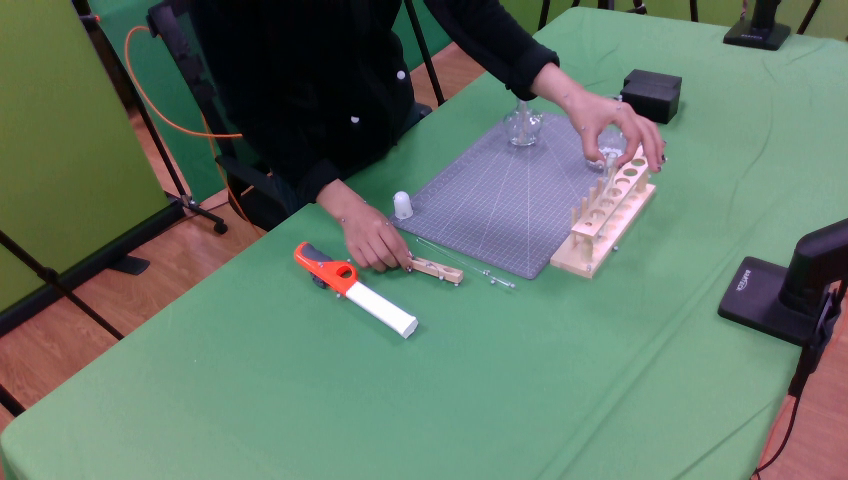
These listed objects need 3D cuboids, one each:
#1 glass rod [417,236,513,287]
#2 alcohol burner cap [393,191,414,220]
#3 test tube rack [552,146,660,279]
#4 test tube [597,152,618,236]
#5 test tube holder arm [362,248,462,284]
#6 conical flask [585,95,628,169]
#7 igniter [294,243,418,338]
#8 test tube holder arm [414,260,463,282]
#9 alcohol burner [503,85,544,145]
[{"bbox_3d":[0.059,0.032,0.944,0.198,0.008,0.008,27,52,37],"label":"glass rod"},{"bbox_3d":[-0.037,-0.061,1.045,0.034,0.048,0.033,-5,41,5],"label":"alcohol burner cap"},{"bbox_3d":[0.286,-0.053,0.943,0.066,0.085,0.243,21,49,32],"label":"test tube rack"},{"bbox_3d":[0.263,-0.062,0.874,0.017,0.151,0.017,-3,43,4],"label":"test tube"},{"bbox_3d":[-0.022,0.039,0.942,0.177,0.015,0.013,14,20,25],"label":"test tube holder arm"},{"bbox_3d":[0.324,-0.192,1.066,0.075,0.122,0.075,-6,40,5],"label":"conical flask"},{"bbox_3d":[-0.114,0.070,0.919,0.274,0.025,0.057,29,65,37],"label":"igniter"},{"bbox_3d":[0.020,0.047,0.926,0.087,0.015,0.010,15,20,28],"label":"test tube holder arm"},{"bbox_3d":[0.191,-0.243,1.160,0.078,0.119,0.077,-4,40,4],"label":"alcohol burner"}]
